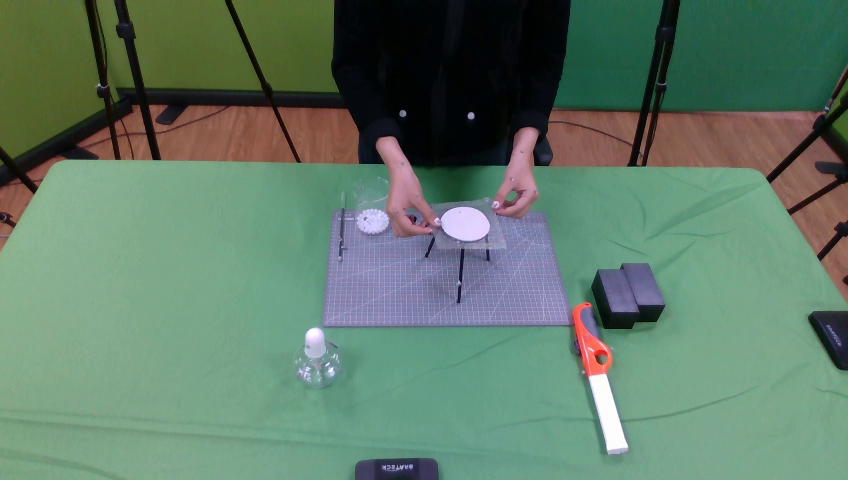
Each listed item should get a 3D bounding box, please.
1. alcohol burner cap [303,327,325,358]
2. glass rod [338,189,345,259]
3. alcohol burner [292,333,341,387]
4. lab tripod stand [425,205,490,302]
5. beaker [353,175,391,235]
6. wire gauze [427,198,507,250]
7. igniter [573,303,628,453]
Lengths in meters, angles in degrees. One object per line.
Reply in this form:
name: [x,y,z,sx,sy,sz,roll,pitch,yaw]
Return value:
alcohol burner cap: [-0.169,0.154,0.924,0.034,0.048,0.033,4,42,-4]
glass rod: [-0.166,-0.036,1.227,0.008,0.008,0.198,-1,47,-4]
alcohol burner: [-0.170,0.179,0.950,0.078,0.120,0.077,2,48,-2]
lab tripod stand: [0.069,0.017,1.105,0.148,0.132,0.147,3,47,-3]
beaker: [-0.104,-0.065,1.196,0.074,0.101,0.084,24,50,18]
wire gauze: [0.073,-0.028,1.056,0.125,0.011,0.120,-2,47,-9]
igniter: [0.288,0.217,1.006,0.057,0.025,0.274,-10,46,8]
